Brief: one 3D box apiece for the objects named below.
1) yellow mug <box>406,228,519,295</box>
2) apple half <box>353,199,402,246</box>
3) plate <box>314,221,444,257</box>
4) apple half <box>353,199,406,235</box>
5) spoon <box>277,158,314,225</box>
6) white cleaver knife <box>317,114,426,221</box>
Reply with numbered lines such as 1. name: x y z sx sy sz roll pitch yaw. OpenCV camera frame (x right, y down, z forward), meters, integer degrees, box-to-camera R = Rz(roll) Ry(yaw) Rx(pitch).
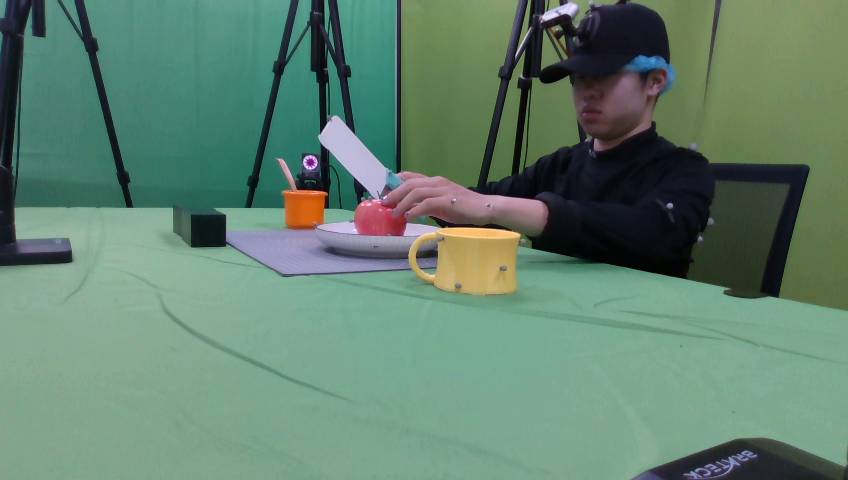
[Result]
1. yellow mug: 0.044 0.022 0.707 0.131 0.064 0.100 2 7 5
2. apple half: -0.076 -0.029 0.946 0.081 0.081 0.032 0 12 -17
3. plate: -0.066 -0.002 0.948 0.209 0.038 0.209 3 7 0
4. apple half: -0.065 -0.023 0.908 0.081 0.074 0.053 4 10 -16
5. spoon: -0.272 -0.103 1.260 0.042 0.193 0.021 -5 -34 -33
6. white cleaver knife: -0.085 -0.109 1.052 0.021 0.066 0.288 6 -26 42
